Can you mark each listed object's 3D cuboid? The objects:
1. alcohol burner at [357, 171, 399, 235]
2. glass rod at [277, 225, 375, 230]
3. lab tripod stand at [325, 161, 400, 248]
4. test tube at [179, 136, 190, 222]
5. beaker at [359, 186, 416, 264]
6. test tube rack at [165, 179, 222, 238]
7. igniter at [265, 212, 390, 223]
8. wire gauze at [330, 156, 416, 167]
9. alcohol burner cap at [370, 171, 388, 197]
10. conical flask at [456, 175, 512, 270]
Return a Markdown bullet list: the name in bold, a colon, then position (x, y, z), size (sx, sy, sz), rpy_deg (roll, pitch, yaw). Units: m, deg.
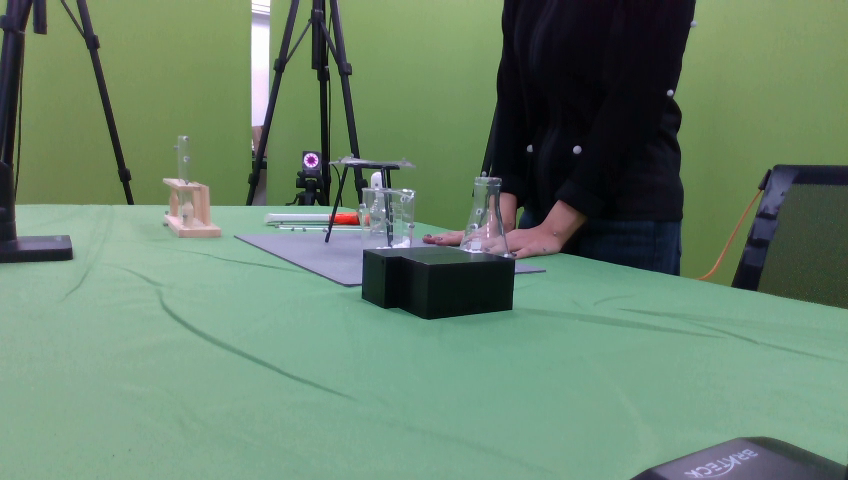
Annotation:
- **alcohol burner**: position (-0.085, -0.068, 1.125), size (0.078, 0.119, 0.078), rpy_deg (3, 10, 0)
- **glass rod**: position (-0.187, -0.024, 1.178), size (0.201, 0.008, 0.008), rpy_deg (1, 7, -31)
- **lab tripod stand**: position (-0.083, -0.059, 0.977), size (0.148, 0.131, 0.148), rpy_deg (4, 8, 0)
- **test tube**: position (-0.416, -0.105, 1.052), size (0.017, 0.150, 0.017), rpy_deg (0, 4, 0)
- **beaker**: position (-0.048, -0.020, 0.817), size (0.083, 0.100, 0.074), rpy_deg (10, 11, 41)
- **test tube rack**: position (-0.423, -0.062, 1.098), size (0.067, 0.085, 0.241), rpy_deg (-2, 9, -28)
- **igniter**: position (-0.196, -0.048, 1.286), size (0.278, 0.025, 0.057), rpy_deg (-2, -2, -30)
- **wire gauze**: position (-0.079, -0.126, 0.972), size (0.121, 0.011, 0.125), rpy_deg (4, 8, 5)
- **alcohol burner cap**: position (-0.085, -0.104, 1.120), size (0.034, 0.048, 0.034), rpy_deg (-4, 8, 1)
- **conical flask**: position (0.082, -0.024, 0.801), size (0.075, 0.122, 0.075), rpy_deg (2, 7, 0)
